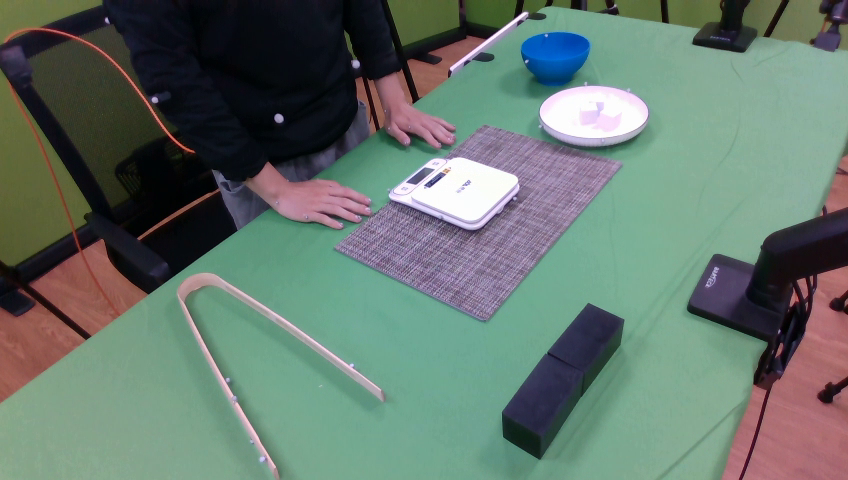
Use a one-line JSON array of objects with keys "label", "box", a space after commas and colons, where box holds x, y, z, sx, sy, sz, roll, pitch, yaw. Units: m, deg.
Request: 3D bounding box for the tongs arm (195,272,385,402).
[{"label": "tongs arm", "box": [-0.198, 0.125, 0.847, 0.384, 0.028, 0.028, 25, 52, 32]}]

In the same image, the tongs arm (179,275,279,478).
[{"label": "tongs arm", "box": [-0.260, 0.161, 0.807, 0.051, 0.026, 0.381, -29, 44, -25]}]

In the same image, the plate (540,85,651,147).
[{"label": "plate", "box": [0.333, -0.238, 1.185, 0.207, 0.039, 0.206, -4, 41, 4]}]

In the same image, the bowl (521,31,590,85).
[{"label": "bowl", "box": [0.290, -0.395, 1.341, 0.151, 0.077, 0.150, -4, 40, 4]}]

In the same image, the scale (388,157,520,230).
[{"label": "scale", "box": [0.050, -0.090, 1.051, 0.199, 0.032, 0.149, 24, 49, 31]}]
